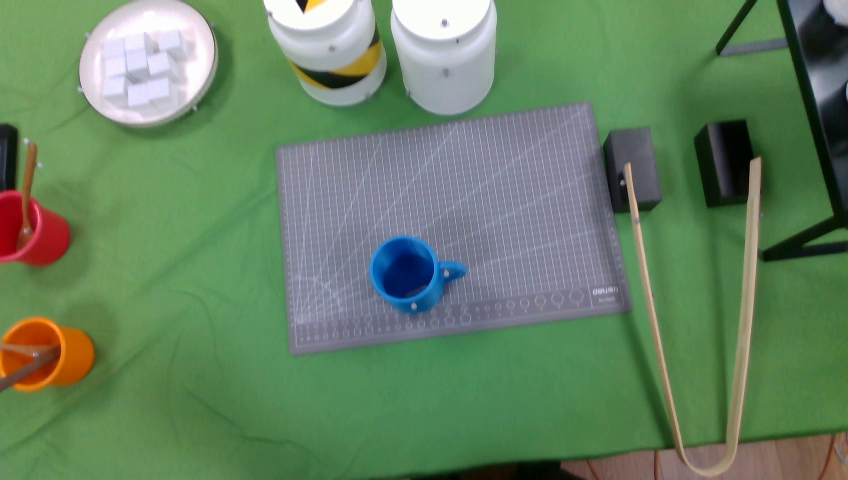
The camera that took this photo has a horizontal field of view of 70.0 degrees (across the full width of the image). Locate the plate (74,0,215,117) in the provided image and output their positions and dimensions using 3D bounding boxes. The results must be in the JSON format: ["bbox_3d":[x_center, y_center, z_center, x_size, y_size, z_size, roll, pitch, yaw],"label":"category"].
[{"bbox_3d":[-0.403,-0.274,0.887,0.207,0.039,0.206,-1,78,4],"label":"plate"}]

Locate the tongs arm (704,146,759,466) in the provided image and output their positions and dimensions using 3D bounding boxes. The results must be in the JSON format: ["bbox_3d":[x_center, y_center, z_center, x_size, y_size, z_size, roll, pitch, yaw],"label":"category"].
[{"bbox_3d":[0.377,0.079,0.733,0.028,0.028,0.387,7,88,-1],"label":"tongs arm"}]

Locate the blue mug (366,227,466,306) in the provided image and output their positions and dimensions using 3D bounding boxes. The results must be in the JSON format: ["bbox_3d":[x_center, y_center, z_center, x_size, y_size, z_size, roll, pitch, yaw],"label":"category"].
[{"bbox_3d":[-0.006,0.033,0.754,0.116,0.106,0.082,-7,77,3],"label":"blue mug"}]

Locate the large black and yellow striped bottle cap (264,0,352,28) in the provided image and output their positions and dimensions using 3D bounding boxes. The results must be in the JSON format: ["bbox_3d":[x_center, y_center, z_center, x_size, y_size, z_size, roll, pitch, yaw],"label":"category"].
[{"bbox_3d":[-0.137,-0.306,0.713,0.115,0.019,0.114,-1,79,3],"label":"large black and yellow striped bottle cap"}]

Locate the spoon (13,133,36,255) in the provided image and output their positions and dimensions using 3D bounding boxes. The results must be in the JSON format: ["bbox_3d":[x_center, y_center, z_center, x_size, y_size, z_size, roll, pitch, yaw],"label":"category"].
[{"bbox_3d":[-0.524,-0.056,0.796,0.041,0.021,0.194,38,127,14],"label":"spoon"}]

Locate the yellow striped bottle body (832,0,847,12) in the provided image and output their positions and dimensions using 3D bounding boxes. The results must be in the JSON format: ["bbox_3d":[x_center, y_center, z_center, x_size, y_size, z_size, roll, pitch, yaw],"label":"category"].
[{"bbox_3d":[0.462,-0.283,0.595,0.063,0.121,0.062,-1,77,5],"label":"yellow striped bottle body"}]

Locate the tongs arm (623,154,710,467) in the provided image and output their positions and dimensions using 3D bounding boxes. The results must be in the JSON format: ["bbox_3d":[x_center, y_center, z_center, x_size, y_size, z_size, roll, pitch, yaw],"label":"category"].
[{"bbox_3d":[0.294,0.082,0.739,0.051,0.026,0.384,-7,87,2],"label":"tongs arm"}]

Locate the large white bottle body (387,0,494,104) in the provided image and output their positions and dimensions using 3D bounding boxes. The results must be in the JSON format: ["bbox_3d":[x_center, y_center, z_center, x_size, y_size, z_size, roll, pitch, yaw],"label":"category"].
[{"bbox_3d":[0.024,-0.271,0.778,0.130,0.185,0.130,-1,77,5],"label":"large white bottle body"}]

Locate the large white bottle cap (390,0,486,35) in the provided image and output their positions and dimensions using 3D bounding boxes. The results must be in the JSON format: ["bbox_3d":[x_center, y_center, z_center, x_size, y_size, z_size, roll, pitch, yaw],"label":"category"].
[{"bbox_3d":[0.017,-0.291,0.696,0.115,0.018,0.114,-1,78,4],"label":"large white bottle cap"}]

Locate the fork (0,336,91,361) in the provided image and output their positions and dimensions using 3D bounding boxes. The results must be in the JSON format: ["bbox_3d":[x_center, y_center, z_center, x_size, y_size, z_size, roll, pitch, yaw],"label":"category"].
[{"bbox_3d":[-0.531,0.124,0.756,0.209,0.018,0.028,20,74,-36],"label":"fork"}]

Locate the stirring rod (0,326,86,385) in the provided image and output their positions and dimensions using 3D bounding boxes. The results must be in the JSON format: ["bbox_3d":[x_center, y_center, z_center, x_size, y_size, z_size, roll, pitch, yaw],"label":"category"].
[{"bbox_3d":[-0.503,0.158,0.752,0.014,0.006,0.176,39,41,8],"label":"stirring rod"}]

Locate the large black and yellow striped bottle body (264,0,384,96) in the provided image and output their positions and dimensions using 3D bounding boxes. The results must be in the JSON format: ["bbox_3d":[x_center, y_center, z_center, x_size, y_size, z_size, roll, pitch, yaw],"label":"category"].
[{"bbox_3d":[-0.130,-0.286,0.793,0.131,0.185,0.130,-1,77,5],"label":"large black and yellow striped bottle body"}]
